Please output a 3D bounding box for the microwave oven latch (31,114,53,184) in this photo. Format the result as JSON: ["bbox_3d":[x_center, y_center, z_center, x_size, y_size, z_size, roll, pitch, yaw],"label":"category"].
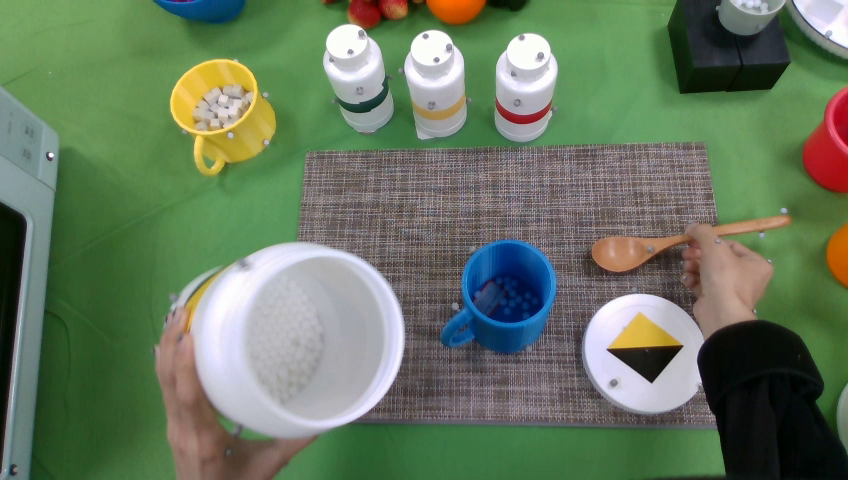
[{"bbox_3d":[-0.449,-0.103,0.697,0.030,0.030,0.078,-8,70,2],"label":"microwave oven latch"}]

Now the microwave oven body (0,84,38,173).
[{"bbox_3d":[-0.579,0.048,0.548,0.326,0.262,0.438,-9,69,1],"label":"microwave oven body"}]

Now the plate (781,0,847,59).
[{"bbox_3d":[0.515,-0.286,0.701,0.209,0.038,0.207,-2,70,4],"label":"plate"}]

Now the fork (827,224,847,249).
[{"bbox_3d":[0.456,0.022,0.529,0.028,0.019,0.205,-27,25,-13],"label":"fork"}]

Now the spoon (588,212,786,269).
[{"bbox_3d":[0.263,-0.004,0.610,0.193,0.022,0.041,-13,54,12],"label":"spoon"}]

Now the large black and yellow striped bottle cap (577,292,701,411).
[{"bbox_3d":[0.208,0.107,0.588,0.115,0.019,0.114,-2,68,4],"label":"large black and yellow striped bottle cap"}]

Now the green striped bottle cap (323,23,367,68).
[{"bbox_3d":[-0.082,-0.200,0.621,0.044,0.020,0.044,-2,67,5],"label":"green striped bottle cap"}]

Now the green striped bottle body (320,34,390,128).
[{"bbox_3d":[-0.076,-0.181,0.669,0.063,0.120,0.062,-2,69,4],"label":"green striped bottle body"}]

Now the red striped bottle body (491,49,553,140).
[{"bbox_3d":[0.103,-0.164,0.647,0.063,0.120,0.062,-2,68,5],"label":"red striped bottle body"}]

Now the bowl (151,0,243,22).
[{"bbox_3d":[-0.279,-0.334,0.767,0.151,0.077,0.150,-1,69,4],"label":"bowl"}]

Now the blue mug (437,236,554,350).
[{"bbox_3d":[0.062,0.062,0.569,0.116,0.106,0.081,-33,69,-7],"label":"blue mug"}]

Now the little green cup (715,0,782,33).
[{"bbox_3d":[0.345,-0.255,0.649,0.061,0.039,0.061,-1,67,3],"label":"little green cup"}]

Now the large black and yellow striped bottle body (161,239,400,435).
[{"bbox_3d":[-0.108,0.070,0.443,0.131,0.183,0.130,6,79,-32],"label":"large black and yellow striped bottle body"}]

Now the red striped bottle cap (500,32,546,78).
[{"bbox_3d":[0.098,-0.183,0.598,0.044,0.018,0.044,0,68,1],"label":"red striped bottle cap"}]

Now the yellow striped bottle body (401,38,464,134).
[{"bbox_3d":[0.010,-0.172,0.658,0.063,0.121,0.062,-2,68,5],"label":"yellow striped bottle body"}]

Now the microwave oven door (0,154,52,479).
[{"bbox_3d":[-0.429,0.062,0.524,0.039,0.245,0.353,-10,69,2],"label":"microwave oven door"}]

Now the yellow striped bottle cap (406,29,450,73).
[{"bbox_3d":[0.004,-0.191,0.610,0.044,0.019,0.044,0,66,0],"label":"yellow striped bottle cap"}]

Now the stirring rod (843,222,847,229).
[{"bbox_3d":[0.428,0.021,0.541,0.014,0.006,0.175,2,26,3],"label":"stirring rod"}]

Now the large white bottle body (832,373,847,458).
[{"bbox_3d":[0.430,0.139,0.469,0.130,0.186,0.129,-2,68,5],"label":"large white bottle body"}]

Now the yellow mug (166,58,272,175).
[{"bbox_3d":[-0.238,-0.136,0.696,0.100,0.064,0.130,9,71,8],"label":"yellow mug"}]
